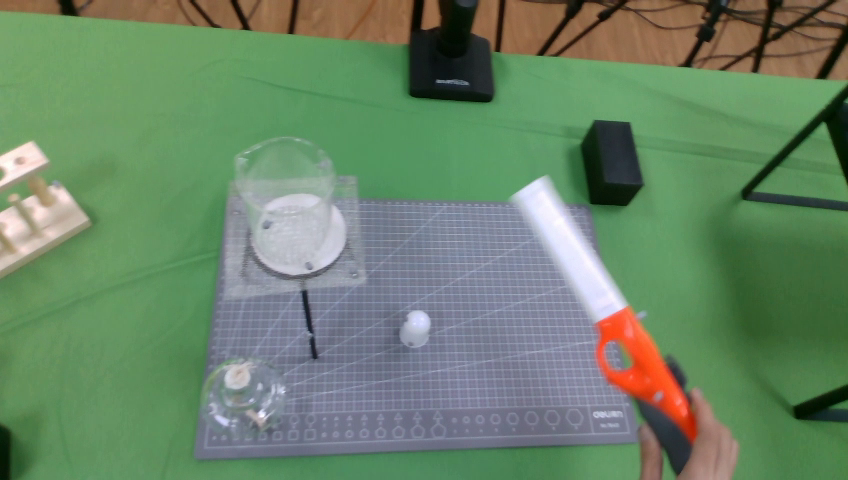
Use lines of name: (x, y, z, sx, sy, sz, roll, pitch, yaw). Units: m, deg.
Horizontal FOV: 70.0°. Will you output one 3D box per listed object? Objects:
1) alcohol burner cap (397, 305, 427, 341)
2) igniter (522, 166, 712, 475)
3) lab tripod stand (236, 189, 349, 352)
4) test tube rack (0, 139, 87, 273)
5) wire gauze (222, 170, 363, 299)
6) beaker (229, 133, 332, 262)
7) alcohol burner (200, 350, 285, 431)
alcohol burner cap: (-0.011, 0.087, 0.648, 0.034, 0.048, 0.033, 2, 67, -4)
igniter: (0.162, 0.065, 0.507, 0.057, 0.025, 0.275, -30, 83, 20)
lab tripod stand: (-0.128, 0.025, 0.611, 0.149, 0.132, 0.147, 5, 62, -8)
test tube rack: (-0.479, 0.006, 0.598, 0.242, 0.086, 0.066, -38, 73, -25)
wire gauze: (-0.123, -0.010, 0.557, 0.122, 0.011, 0.124, -5, 66, -10)
beaker: (-0.120, -0.032, 0.512, 0.084, 0.101, 0.073, 23, 61, 4)
alcohol burner: (-0.168, 0.133, 0.558, 0.078, 0.120, 0.077, 5, 59, -8)
